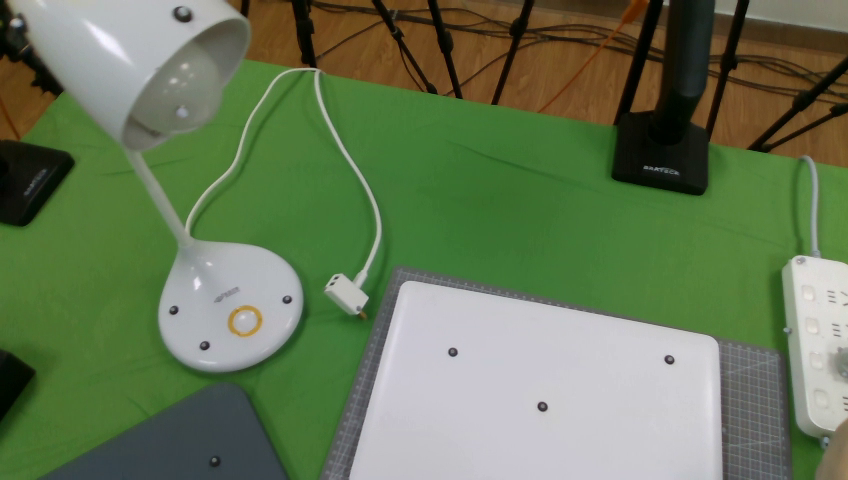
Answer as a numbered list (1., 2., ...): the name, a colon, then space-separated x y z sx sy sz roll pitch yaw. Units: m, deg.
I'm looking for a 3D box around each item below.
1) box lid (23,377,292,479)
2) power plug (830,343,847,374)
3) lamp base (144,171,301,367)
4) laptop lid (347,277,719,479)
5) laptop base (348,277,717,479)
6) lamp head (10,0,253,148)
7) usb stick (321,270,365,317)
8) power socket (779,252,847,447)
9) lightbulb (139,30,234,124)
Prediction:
1. box lid: -0.218 0.324 0.539 0.263 0.015 0.368 -28 62 -16
2. power plug: 0.457 0.129 0.621 0.072 0.053 0.035 22 59 12
3. lamp base: -0.232 0.020 0.635 0.177 0.182 0.160 37 64 25
4. laptop lid: 0.118 0.168 0.619 0.356 0.013 0.240 11 60 8
5. laptop base: 0.119 0.172 0.630 0.354 0.023 0.234 10 61 7
6. lamp head: -0.187 -0.134 0.373 0.123 0.112 0.112 40 63 -3
7. usb stick: -0.087 0.063 0.686 0.021 0.059 0.027 -11 37 49
8. power socket: 0.435 0.110 0.661 0.072 0.033 0.225 12 57 7
9. lightbulb: -0.157 -0.124 0.367 0.059 0.059 0.108 -25 99 -15
